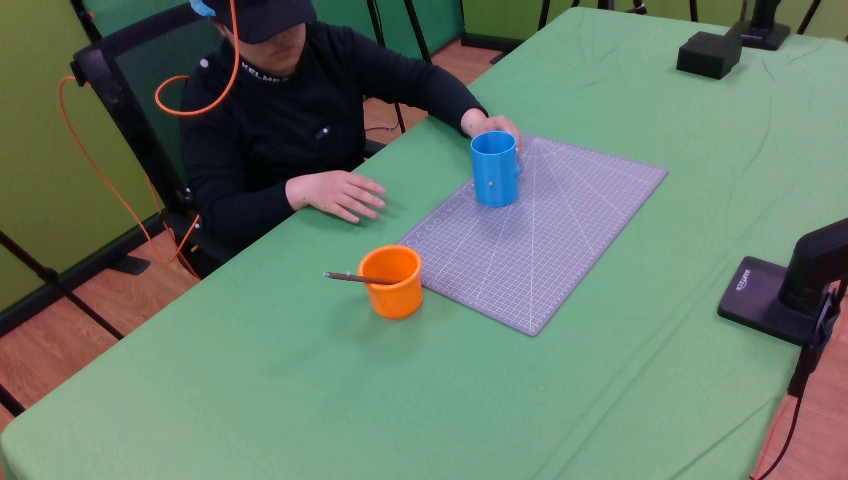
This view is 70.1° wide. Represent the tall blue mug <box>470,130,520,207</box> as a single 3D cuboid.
[{"bbox_3d":[0.121,-0.131,1.044,0.078,0.108,0.106,-12,40,-1],"label":"tall blue mug"}]

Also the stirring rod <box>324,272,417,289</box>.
[{"bbox_3d":[-0.069,0.057,0.840,0.014,0.006,0.178,26,9,39],"label":"stirring rod"}]
